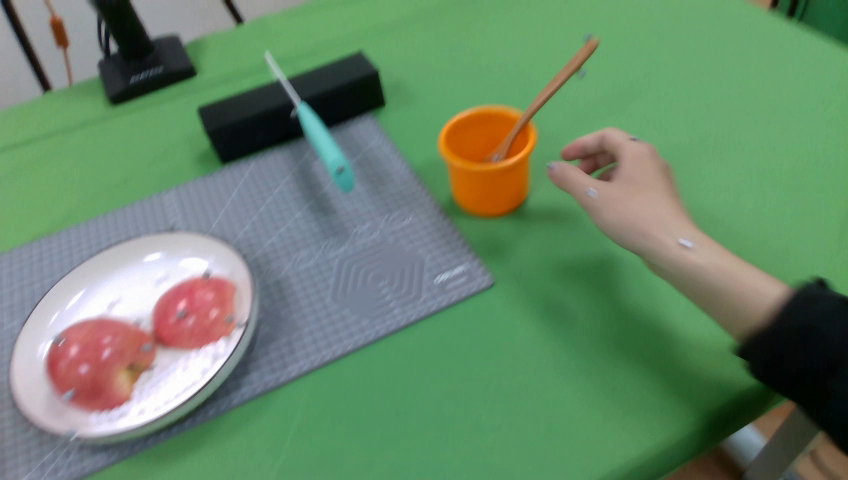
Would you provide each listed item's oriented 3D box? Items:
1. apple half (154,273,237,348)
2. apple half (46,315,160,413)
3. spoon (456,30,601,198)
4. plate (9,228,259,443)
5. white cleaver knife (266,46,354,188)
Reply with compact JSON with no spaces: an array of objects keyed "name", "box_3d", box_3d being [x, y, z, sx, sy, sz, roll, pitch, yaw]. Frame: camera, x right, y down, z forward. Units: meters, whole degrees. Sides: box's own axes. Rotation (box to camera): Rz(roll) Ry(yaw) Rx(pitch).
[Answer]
[{"name":"apple half","box_3d":[-0.203,0.056,0.528,0.081,0.033,0.080,-3,52,5]},{"name":"apple half","box_3d":[-0.268,0.093,0.495,0.074,0.054,0.080,11,53,21]},{"name":"spoon","box_3d":[0.095,-0.113,0.564,0.022,0.194,0.041,13,36,-41]},{"name":"plate","box_3d":[-0.242,0.079,0.524,0.209,0.038,0.207,-4,50,5]},{"name":"white cleaver knife","box_3d":[-0.129,-0.139,0.671,0.021,0.066,0.283,-27,47,-7]}]
